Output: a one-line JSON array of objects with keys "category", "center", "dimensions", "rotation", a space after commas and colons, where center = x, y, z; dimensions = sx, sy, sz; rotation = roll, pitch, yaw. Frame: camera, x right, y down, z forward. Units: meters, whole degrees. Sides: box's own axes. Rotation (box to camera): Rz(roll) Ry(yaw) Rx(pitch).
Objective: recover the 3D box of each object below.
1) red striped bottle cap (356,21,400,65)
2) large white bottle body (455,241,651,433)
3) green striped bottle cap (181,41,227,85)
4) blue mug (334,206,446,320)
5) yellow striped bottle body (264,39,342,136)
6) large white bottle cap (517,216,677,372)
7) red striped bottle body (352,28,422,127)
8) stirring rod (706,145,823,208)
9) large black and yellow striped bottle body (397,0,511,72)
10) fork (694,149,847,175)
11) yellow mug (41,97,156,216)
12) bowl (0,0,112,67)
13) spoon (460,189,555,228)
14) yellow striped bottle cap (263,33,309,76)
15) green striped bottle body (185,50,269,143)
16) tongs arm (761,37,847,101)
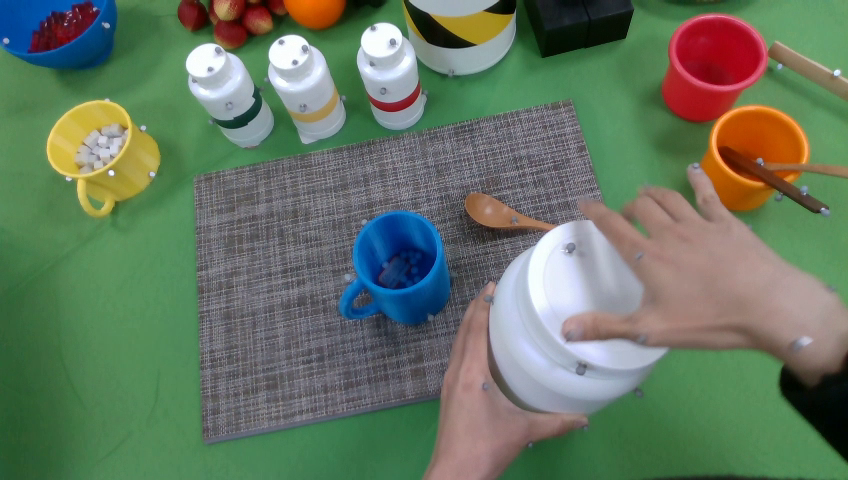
[{"category": "red striped bottle cap", "center": [-0.047, -0.201, 0.618], "dimensions": [0.044, 0.018, 0.044], "rotation": [-1, 67, 2]}, {"category": "large white bottle body", "center": [0.107, 0.076, 0.501], "dimensions": [0.131, 0.185, 0.129], "rotation": [5, 60, -9]}, {"category": "green striped bottle cap", "center": [-0.229, -0.184, 0.630], "dimensions": [0.044, 0.020, 0.044], "rotation": [-1, 68, 4]}, {"category": "blue mug", "center": [-0.036, 0.035, 0.588], "dimensions": [0.116, 0.106, 0.081], "rotation": [-35, 69, -7]}, {"category": "yellow striped bottle body", "center": [-0.135, -0.173, 0.672], "dimensions": [0.063, 0.121, 0.062], "rotation": [-2, 68, 6]}, {"category": "large white bottle cap", "center": [0.122, 0.035, 0.427], "dimensions": [0.115, 0.018, 0.114], "rotation": [6, 61, -10]}, {"category": "red striped bottle body", "center": [-0.040, -0.182, 0.666], "dimensions": [0.063, 0.120, 0.062], "rotation": [-3, 68, 8]}, {"category": "stirring rod", "center": [0.318, -0.064, 0.578], "dimensions": [0.014, 0.006, 0.174], "rotation": [-9, 25, -1]}, {"category": "large black and yellow striped bottle body", "center": [0.032, -0.290, 0.666], "dimensions": [0.130, 0.185, 0.130], "rotation": [-2, 69, 5]}, {"category": "fork", "center": [0.348, -0.069, 0.569], "dimensions": [0.028, 0.019, 0.205], "rotation": [-49, 28, -12]}, {"category": "yellow mug", "center": [-0.374, -0.090, 0.694], "dimensions": [0.100, 0.064, 0.130], "rotation": [-2, 70, 5]}, {"category": "bowl", "center": [-0.456, -0.275, 0.765], "dimensions": [0.151, 0.077, 0.150], "rotation": [-2, 69, 5]}, {"category": "spoon", "center": [0.129, -0.013, 0.634], "dimensions": [0.193, 0.022, 0.041], "rotation": [18, 51, 12]}, {"category": "yellow striped bottle cap", "center": [-0.142, -0.191, 0.623], "dimensions": [0.044, 0.019, 0.044], "rotation": [0, 65, 1]}, {"category": "green striped bottle body", "center": [-0.222, -0.165, 0.678], "dimensions": [0.063, 0.120, 0.062], "rotation": [-2, 69, 5]}, {"category": "tongs arm", "center": [0.538, -0.119, 0.630], "dimensions": [0.382, 0.027, 0.050], "rotation": [40, 74, 17]}]
